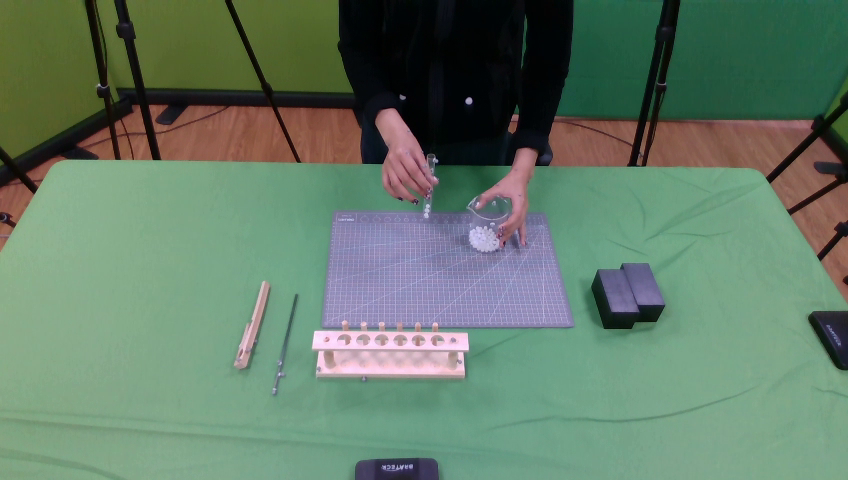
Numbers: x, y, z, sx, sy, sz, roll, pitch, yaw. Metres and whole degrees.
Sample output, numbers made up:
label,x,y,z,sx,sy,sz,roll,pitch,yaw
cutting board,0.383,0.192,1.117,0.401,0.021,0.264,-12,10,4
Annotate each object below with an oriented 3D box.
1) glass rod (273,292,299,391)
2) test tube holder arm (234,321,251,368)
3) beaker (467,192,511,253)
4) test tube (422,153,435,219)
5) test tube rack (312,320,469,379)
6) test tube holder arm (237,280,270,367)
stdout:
label,x,y,z,sx,sy,sz,roll,pitch,yaw
glass rod,-0.233,0.167,1.030,0.008,0.008,0.198,3,46,0
test tube holder arm,-0.299,0.173,1.013,0.010,0.015,0.087,-16,42,22
beaker,0.121,-0.031,1.179,0.084,0.101,0.073,3,46,0
test tube,0.008,-0.095,1.099,0.017,0.151,0.017,2,46,-2
test tube rack,-0.054,0.173,0.984,0.242,0.085,0.066,1,46,-3
test tube holder arm,-0.290,0.139,1.042,0.013,0.015,0.177,-17,42,22
